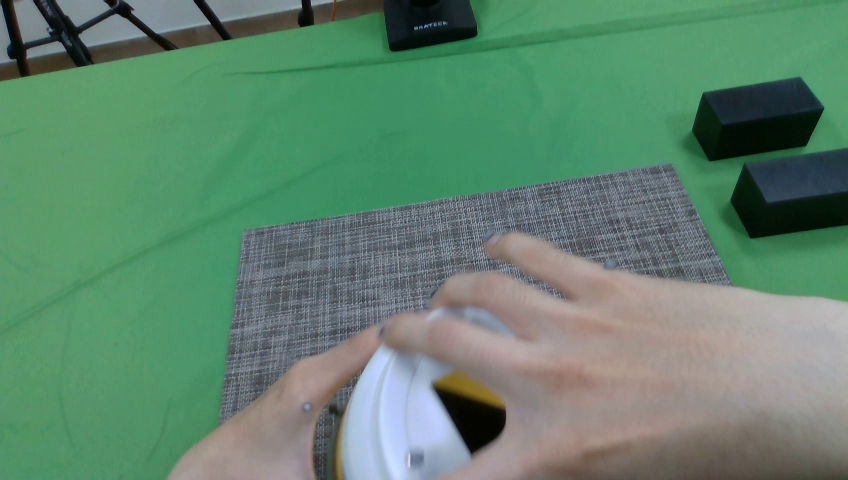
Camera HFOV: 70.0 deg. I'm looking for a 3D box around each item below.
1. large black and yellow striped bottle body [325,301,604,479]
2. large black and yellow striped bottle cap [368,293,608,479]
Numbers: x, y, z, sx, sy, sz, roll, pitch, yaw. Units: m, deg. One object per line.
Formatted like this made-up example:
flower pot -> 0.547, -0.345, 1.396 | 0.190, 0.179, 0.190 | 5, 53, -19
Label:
large black and yellow striped bottle body -> 0.014, 0.114, 0.359 | 0.131, 0.184, 0.129 | 6, 65, -12
large black and yellow striped bottle cap -> 0.031, 0.080, 0.285 | 0.115, 0.019, 0.114 | 7, 64, -14
